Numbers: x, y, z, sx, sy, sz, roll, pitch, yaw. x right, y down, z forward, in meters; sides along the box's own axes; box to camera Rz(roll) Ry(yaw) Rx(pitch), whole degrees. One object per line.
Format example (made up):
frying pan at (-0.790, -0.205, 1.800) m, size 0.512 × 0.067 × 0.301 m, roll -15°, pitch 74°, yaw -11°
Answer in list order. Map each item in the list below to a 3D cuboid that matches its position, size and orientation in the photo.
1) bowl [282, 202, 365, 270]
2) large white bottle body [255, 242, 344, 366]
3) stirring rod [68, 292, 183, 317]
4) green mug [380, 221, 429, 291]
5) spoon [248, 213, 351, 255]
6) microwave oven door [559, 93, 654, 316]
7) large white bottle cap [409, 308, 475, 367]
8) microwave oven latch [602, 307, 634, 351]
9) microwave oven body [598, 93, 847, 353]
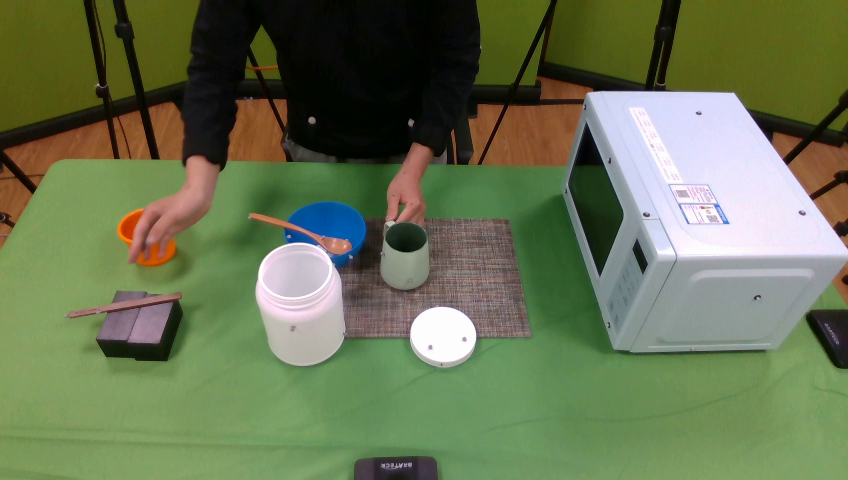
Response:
bowl at (-0.185, 0.006, 1.136) m, size 0.151 × 0.077 × 0.150 m, roll 3°, pitch 46°, yaw -2°
large white bottle body at (-0.196, 0.102, 0.967) m, size 0.131 × 0.185 × 0.130 m, roll 2°, pitch 49°, yaw -2°
stirring rod at (-0.491, 0.107, 1.001) m, size 0.176 × 0.006 × 0.014 m, roll -9°, pitch 43°, yaw -14°
green mug at (-0.043, 0.020, 1.116) m, size 0.092 × 0.105 × 0.124 m, roll -20°, pitch 50°, yaw -21°
spoon at (-0.228, -0.014, 1.113) m, size 0.194 × 0.022 × 0.041 m, roll 23°, pitch 40°, yaw -15°
microwave oven door at (0.327, -0.074, 1.123) m, size 0.039 × 0.245 × 0.353 m, roll 0°, pitch 46°, yaw -5°
large white bottle cap at (0.031, 0.165, 1.041) m, size 0.115 × 0.018 × 0.114 m, roll 2°, pitch 47°, yaw -2°
microwave oven latch at (0.332, 0.153, 1.044) m, size 0.030 × 0.029 × 0.078 m, roll -1°, pitch 45°, yaw -4°
microwave oven body at (0.475, -0.041, 1.109) m, size 0.326 × 0.261 × 0.438 m, roll -1°, pitch 45°, yaw -4°
